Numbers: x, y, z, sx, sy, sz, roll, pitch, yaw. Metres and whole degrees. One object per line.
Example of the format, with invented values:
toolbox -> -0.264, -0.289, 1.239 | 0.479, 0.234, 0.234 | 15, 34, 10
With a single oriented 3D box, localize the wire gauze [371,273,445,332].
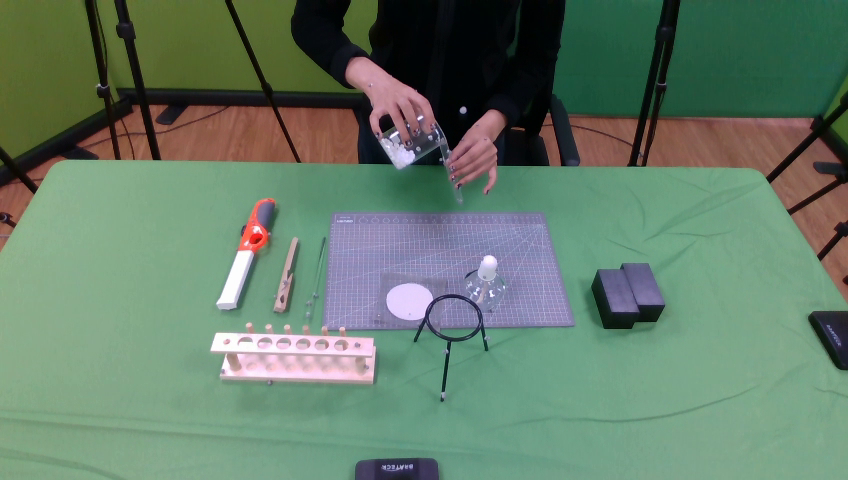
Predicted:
wire gauze -> -0.028, 0.109, 1.099 | 0.125, 0.011, 0.121 | 7, 45, 4

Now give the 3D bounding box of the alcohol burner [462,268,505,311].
alcohol burner -> 0.108, 0.071, 1.072 | 0.078, 0.119, 0.077 | 4, 45, -4

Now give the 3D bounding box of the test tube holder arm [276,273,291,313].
test tube holder arm -> -0.254, 0.093, 1.094 | 0.010, 0.015, 0.087 | 30, 38, -27

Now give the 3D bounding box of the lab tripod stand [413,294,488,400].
lab tripod stand -> 0.044, 0.159, 0.972 | 0.148, 0.132, 0.147 | 2, 44, -2

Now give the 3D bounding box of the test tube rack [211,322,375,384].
test tube rack -> -0.202, 0.176, 0.969 | 0.242, 0.085, 0.066 | 3, 46, -2

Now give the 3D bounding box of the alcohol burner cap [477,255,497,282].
alcohol burner cap -> 0.110, 0.047, 1.046 | 0.034, 0.048, 0.033 | 2, 52, -2

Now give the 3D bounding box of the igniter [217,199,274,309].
igniter -> -0.336, 0.017, 1.153 | 0.057, 0.025, 0.275 | -2, 45, 8

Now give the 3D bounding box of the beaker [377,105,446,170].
beaker -> -0.022, -0.172, 1.044 | 0.100, 0.084, 0.073 | -32, 51, 1

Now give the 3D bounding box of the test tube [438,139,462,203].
test tube -> 0.050, -0.125, 1.127 | 0.017, 0.151, 0.017 | -10, 45, 10

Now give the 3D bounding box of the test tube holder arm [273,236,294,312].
test tube holder arm -> -0.259, 0.059, 1.122 | 0.013, 0.015, 0.177 | 28, 39, -28

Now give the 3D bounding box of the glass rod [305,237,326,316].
glass rod -> -0.202, 0.063, 1.131 | 0.008, 0.008, 0.198 | 4, 44, 0
